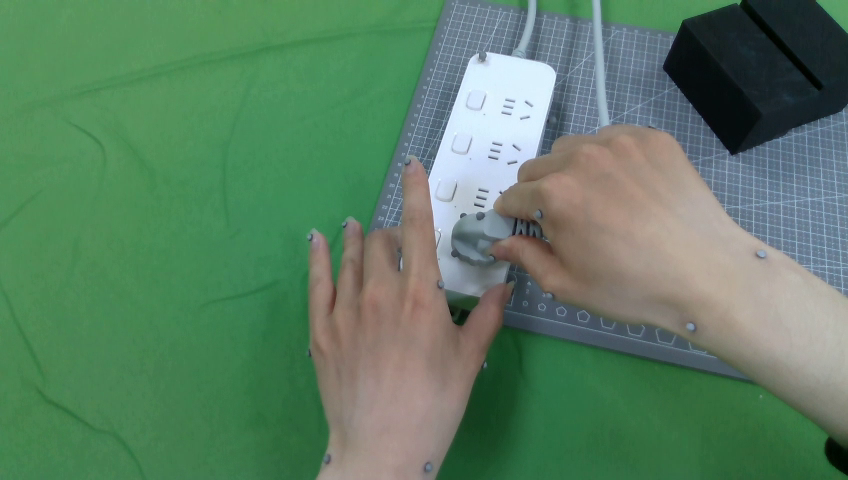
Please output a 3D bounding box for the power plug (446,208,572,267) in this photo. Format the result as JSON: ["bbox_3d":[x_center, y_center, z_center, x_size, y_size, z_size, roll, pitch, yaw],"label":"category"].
[{"bbox_3d":[0.048,0.007,0.379,0.072,0.053,0.035,26,65,13],"label":"power plug"}]

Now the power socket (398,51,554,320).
[{"bbox_3d":[0.042,-0.050,0.444,0.072,0.033,0.225,15,64,8],"label":"power socket"}]
